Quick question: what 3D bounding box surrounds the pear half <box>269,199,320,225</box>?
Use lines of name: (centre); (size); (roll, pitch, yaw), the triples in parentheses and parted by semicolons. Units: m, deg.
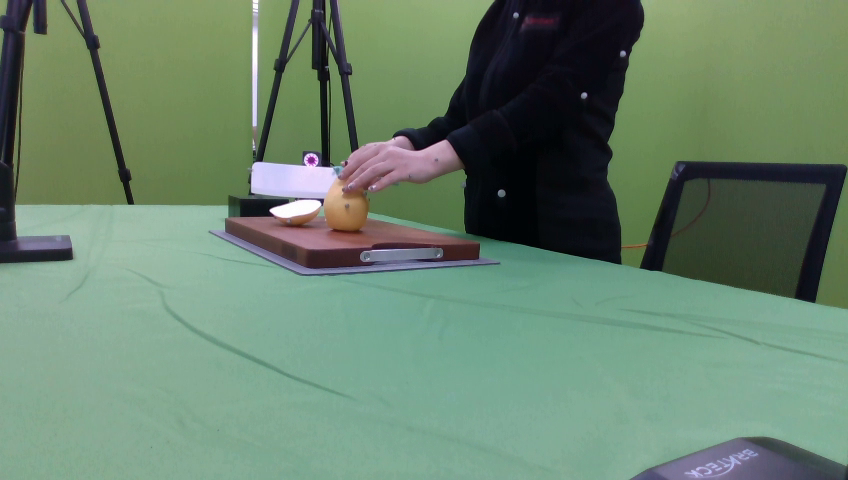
pear half: (-0.211, -0.042, 0.995); (0.088, 0.031, 0.070); (-6, 19, 20)

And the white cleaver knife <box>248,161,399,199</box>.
white cleaver knife: (-0.175, -0.106, 1.092); (0.288, 0.066, 0.021); (-2, -6, -30)

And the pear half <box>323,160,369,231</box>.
pear half: (-0.114, -0.068, 0.937); (0.056, 0.110, 0.076); (6, 12, 26)
